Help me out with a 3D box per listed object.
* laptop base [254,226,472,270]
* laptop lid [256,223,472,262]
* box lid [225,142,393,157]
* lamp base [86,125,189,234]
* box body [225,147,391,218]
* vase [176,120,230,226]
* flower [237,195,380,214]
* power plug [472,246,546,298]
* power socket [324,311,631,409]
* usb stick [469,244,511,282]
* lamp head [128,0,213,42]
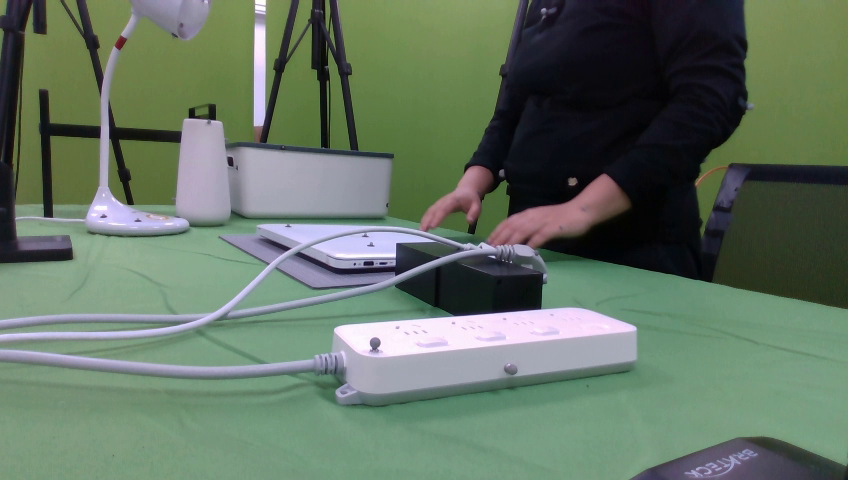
[{"bbox_3d":[-0.095,0.011,0.912,0.237,0.023,0.352,2,6,-32],"label":"laptop base"},{"bbox_3d":[-0.092,0.000,0.912,0.243,0.013,0.355,1,7,-30],"label":"laptop lid"},{"bbox_3d":[-0.286,-0.217,1.464,0.373,0.015,0.262,-1,7,-28],"label":"box lid"},{"bbox_3d":[-0.497,-0.105,1.027,0.179,0.180,0.160,1,7,3],"label":"lamp base"},{"bbox_3d":[-0.289,-0.143,1.475,0.366,0.160,0.253,-1,9,-29],"label":"box body"},{"bbox_3d":[-0.424,-0.128,1.159,0.098,0.200,0.098,2,9,0],"label":"vase"},{"bbox_3d":[-0.284,-0.080,1.482,0.361,0.038,0.044,5,35,7],"label":"flower"},{"bbox_3d":[0.081,0.029,0.584,0.072,0.052,0.035,12,28,9],"label":"power plug"},{"bbox_3d":[0.042,0.075,0.410,0.228,0.032,0.072,-1,8,-25],"label":"power socket"},{"bbox_3d":[0.080,0.028,0.674,0.059,0.021,0.027,28,27,-30],"label":"usb stick"},{"bbox_3d":[-0.423,-0.394,0.980,0.123,0.112,0.112,20,7,-3],"label":"lamp head"}]
